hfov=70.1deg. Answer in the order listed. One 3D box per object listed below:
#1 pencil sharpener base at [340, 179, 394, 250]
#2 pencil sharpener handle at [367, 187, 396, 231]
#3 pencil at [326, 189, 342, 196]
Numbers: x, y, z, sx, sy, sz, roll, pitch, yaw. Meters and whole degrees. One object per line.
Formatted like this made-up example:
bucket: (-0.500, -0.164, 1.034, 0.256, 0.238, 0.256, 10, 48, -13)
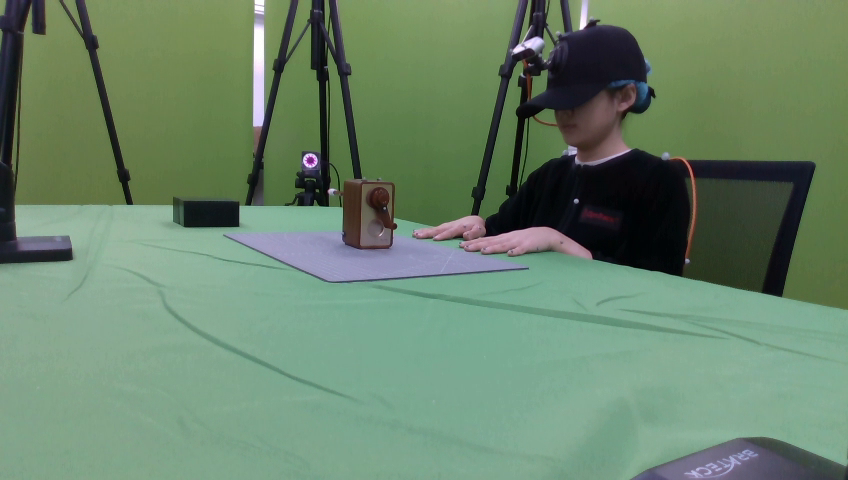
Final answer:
pencil sharpener base: (-0.090, -0.041, 0.959, 0.061, 0.107, 0.076, -1, 9, -30)
pencil sharpener handle: (-0.060, -0.047, 0.916, 0.036, 0.068, 0.030, -22, 19, -25)
pencil: (-0.129, -0.077, 1.027, 0.012, 0.012, 0.193, -1, 8, -29)
